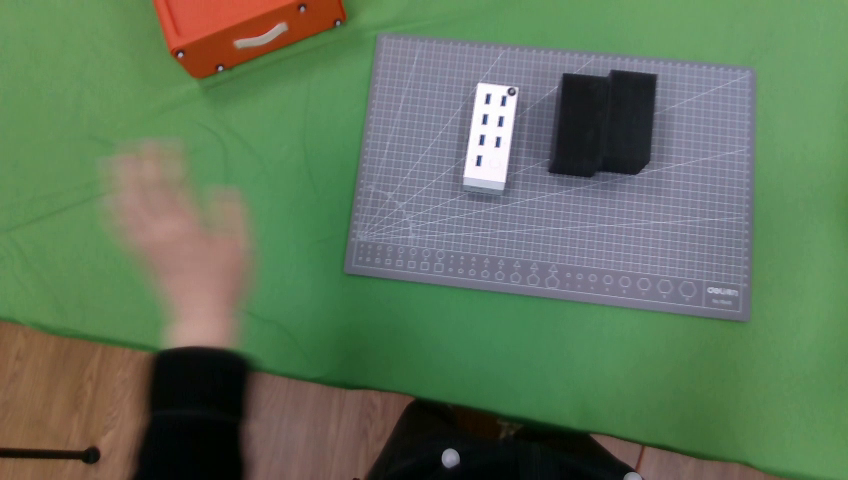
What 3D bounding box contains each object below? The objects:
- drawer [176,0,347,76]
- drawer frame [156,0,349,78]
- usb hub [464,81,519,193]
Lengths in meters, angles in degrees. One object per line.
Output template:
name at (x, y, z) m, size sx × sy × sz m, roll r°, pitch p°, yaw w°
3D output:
drawer at (-0.221, -0.329, 0.722) m, size 0.194 × 0.073 × 0.210 m, roll -22°, pitch 78°, yaw -1°
drawer frame at (-0.222, -0.331, 0.720) m, size 0.202 × 0.083 × 0.212 m, roll -23°, pitch 79°, yaw -1°
usb hub at (0.078, -0.119, 0.696) m, size 0.049 × 0.025 × 0.124 m, roll 8°, pitch 80°, yaw 3°
